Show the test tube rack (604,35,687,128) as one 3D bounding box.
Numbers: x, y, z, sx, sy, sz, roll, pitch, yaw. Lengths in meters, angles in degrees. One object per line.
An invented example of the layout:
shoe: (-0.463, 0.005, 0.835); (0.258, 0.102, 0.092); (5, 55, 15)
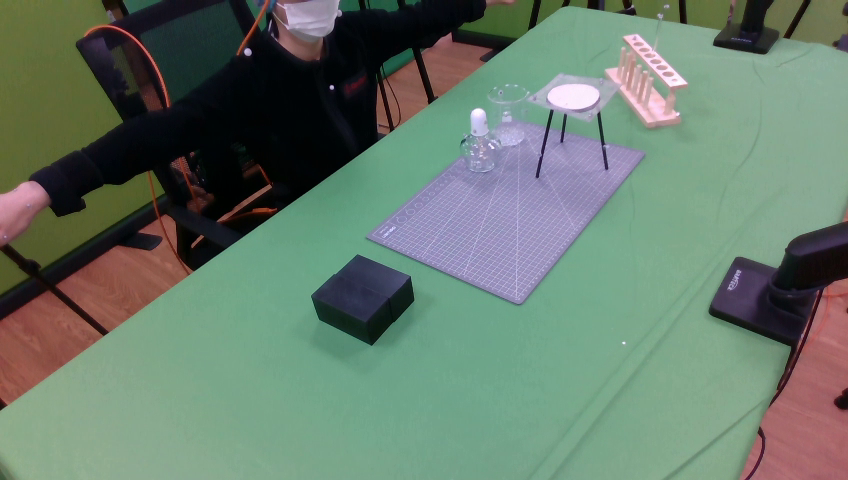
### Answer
test tube rack: (0.447, -0.330, 1.241); (0.067, 0.085, 0.241); (-9, 41, -2)

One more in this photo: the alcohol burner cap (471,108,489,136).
alcohol burner cap: (0.098, -0.211, 1.074); (0.034, 0.048, 0.033); (-6, 41, 6)

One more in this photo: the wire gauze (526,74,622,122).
wire gauze: (0.255, -0.248, 1.030); (0.124, 0.011, 0.122); (24, 51, 32)

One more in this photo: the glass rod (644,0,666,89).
glass rod: (0.465, -0.397, 1.215); (0.008, 0.200, 0.008); (0, 39, 1)

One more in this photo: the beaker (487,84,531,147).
beaker: (0.163, -0.237, 1.161); (0.084, 0.101, 0.073); (-10, 41, -3)

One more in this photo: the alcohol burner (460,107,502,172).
alcohol burner: (0.102, -0.185, 1.098); (0.078, 0.119, 0.077); (-6, 40, 5)

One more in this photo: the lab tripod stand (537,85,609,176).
lab tripod stand: (0.259, -0.192, 1.068); (0.148, 0.132, 0.147); (-4, 42, 4)
